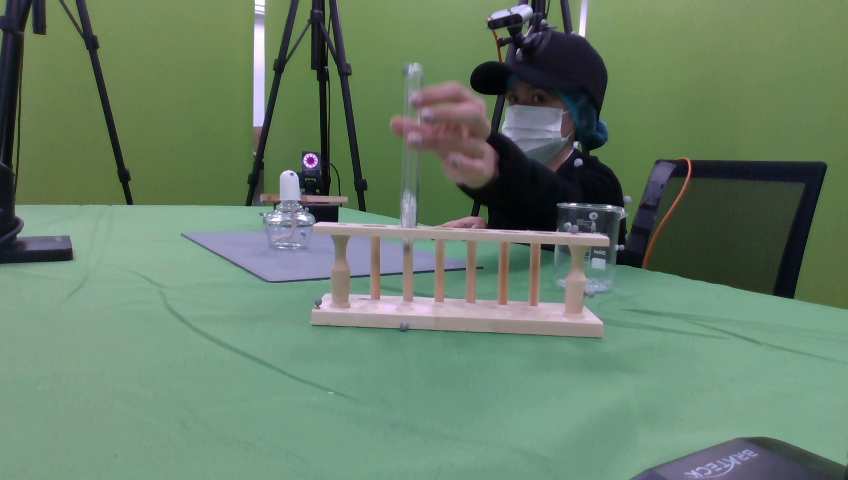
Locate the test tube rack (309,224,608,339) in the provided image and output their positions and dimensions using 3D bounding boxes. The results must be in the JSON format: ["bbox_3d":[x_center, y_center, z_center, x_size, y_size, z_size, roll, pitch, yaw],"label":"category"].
[{"bbox_3d":[0.028,0.032,0.527,0.242,0.085,0.067,3,7,0],"label":"test tube rack"}]

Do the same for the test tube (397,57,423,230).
[{"bbox_3d":[-0.011,-0.077,0.505,0.017,0.150,0.017,3,1,0],"label":"test tube"}]

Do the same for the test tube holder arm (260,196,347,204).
[{"bbox_3d":[-0.239,-0.081,1.213,0.179,0.015,0.013,-1,0,-32],"label":"test tube holder arm"}]

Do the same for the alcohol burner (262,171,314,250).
[{"bbox_3d":[-0.205,-0.045,0.913,0.078,0.119,0.078,1,9,0],"label":"alcohol burner"}]

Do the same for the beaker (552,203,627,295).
[{"bbox_3d":[0.191,0.010,0.708,0.083,0.100,0.074,8,10,33],"label":"beaker"}]

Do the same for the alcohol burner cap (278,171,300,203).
[{"bbox_3d":[-0.203,-0.080,0.909,0.034,0.048,0.034,-1,3,0],"label":"alcohol burner cap"}]

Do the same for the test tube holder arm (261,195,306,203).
[{"bbox_3d":[-0.275,-0.081,1.184,0.088,0.015,0.010,-1,0,-32],"label":"test tube holder arm"}]
